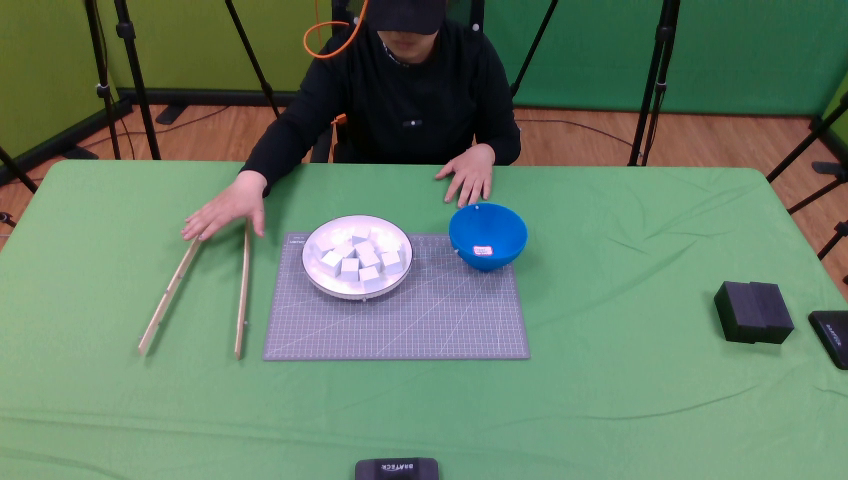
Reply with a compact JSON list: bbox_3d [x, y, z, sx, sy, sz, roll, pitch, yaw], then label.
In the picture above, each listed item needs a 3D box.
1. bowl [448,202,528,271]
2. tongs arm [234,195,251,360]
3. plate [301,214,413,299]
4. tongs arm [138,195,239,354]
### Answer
[{"bbox_3d":[0.118,0.007,1.160,0.151,0.077,0.150,2,46,-2],"label":"bowl"},{"bbox_3d":[-0.338,0.053,1.118,0.028,0.028,0.385,-6,47,-7],"label":"tongs arm"},{"bbox_3d":[-0.124,0.033,1.143,0.208,0.039,0.206,2,46,-2],"label":"plate"},{"bbox_3d":[-0.420,0.047,1.111,0.051,0.026,0.382,6,45,0],"label":"tongs arm"}]
